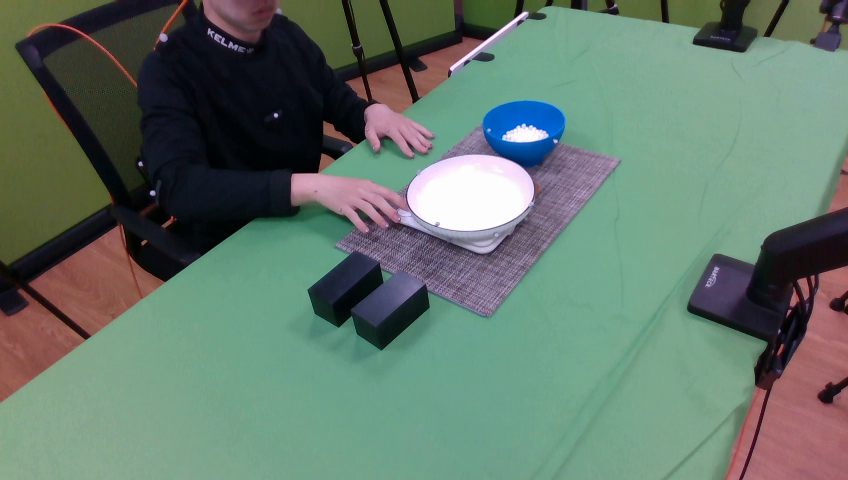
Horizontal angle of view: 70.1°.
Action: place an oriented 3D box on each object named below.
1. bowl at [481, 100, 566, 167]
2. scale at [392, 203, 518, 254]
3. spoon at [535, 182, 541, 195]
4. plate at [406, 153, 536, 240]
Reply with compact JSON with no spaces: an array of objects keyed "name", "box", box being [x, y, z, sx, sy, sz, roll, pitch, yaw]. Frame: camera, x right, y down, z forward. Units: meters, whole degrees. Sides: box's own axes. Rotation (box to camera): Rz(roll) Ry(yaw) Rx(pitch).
[{"name":"bowl","box":[0.183,-0.187,1.111,0.151,0.077,0.150,-4,41,4]},{"name":"scale","box":[0.061,-0.050,1.006,0.199,0.032,0.149,22,48,30]},{"name":"spoon","box":[0.120,-0.108,1.071,0.192,0.022,0.041,22,63,31]},{"name":"plate","box":[0.075,-0.067,0.973,0.209,0.038,0.208,-4,41,4]}]
